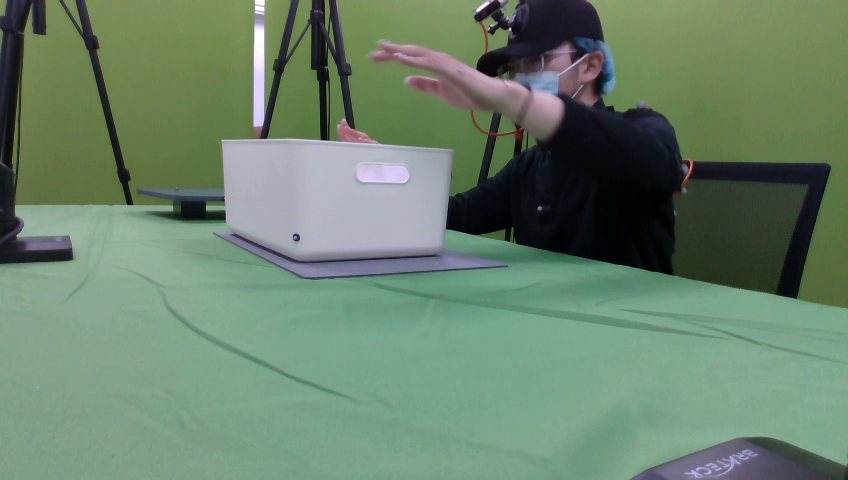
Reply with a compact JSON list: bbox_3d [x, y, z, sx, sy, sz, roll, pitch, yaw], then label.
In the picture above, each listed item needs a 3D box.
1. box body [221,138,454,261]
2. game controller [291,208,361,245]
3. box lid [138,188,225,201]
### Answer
[{"bbox_3d":[-0.151,-0.074,0.963,0.255,0.160,0.362,-3,9,-33],"label":"box body"},{"bbox_3d":[-0.161,-0.023,0.967,0.097,0.051,0.154,-5,9,-15],"label":"game controller"},{"bbox_3d":[-0.433,-0.105,1.395,0.374,0.015,0.262,-5,10,-44],"label":"box lid"}]
